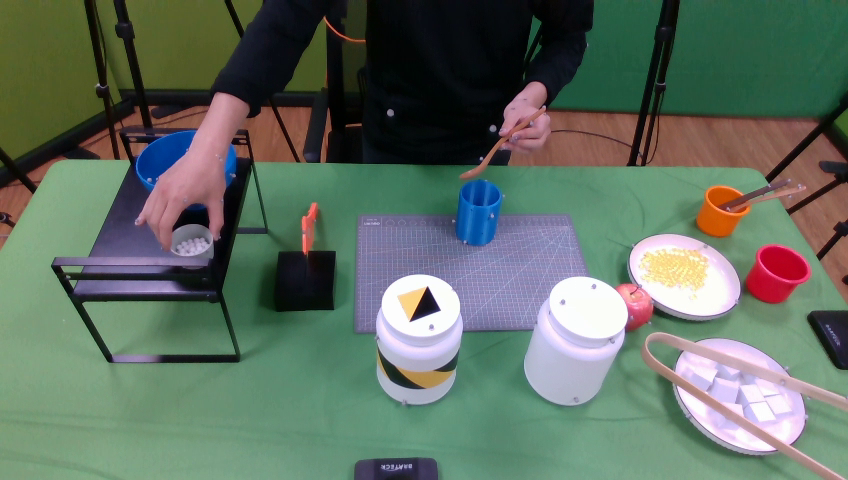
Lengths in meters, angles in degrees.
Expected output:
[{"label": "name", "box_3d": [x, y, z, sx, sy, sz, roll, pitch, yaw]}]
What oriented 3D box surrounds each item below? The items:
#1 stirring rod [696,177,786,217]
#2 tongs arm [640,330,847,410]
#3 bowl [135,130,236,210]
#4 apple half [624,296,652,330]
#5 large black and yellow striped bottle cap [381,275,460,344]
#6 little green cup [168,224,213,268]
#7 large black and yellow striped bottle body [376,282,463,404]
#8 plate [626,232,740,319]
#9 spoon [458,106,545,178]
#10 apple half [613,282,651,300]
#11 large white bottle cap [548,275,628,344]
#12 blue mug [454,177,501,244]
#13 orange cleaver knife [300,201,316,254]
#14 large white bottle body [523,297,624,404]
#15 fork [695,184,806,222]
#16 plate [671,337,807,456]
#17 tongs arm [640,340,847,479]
[{"label": "stirring rod", "box_3d": [0.648, -0.087, 1.244, 0.176, 0.006, 0.014, -25, 50, 29]}, {"label": "tongs arm", "box_3d": [0.543, 0.225, 0.969, 0.384, 0.026, 0.050, 22, 53, 13]}, {"label": "bowl", "box_3d": [-0.375, -0.102, 0.977, 0.151, 0.077, 0.150, 2, 47, -2]}, {"label": "apple half", "box_3d": [0.368, 0.135, 1.060, 0.081, 0.081, 0.032, -11, 43, -15]}, {"label": "large black and yellow striped bottle cap", "box_3d": [-0.005, 0.099, 0.875, 0.115, 0.019, 0.114, 2, 45, -2]}, {"label": "little green cup", "box_3d": [-0.341, 0.011, 0.894, 0.061, 0.039, 0.061, 5, 51, -6]}, {"label": "large black and yellow striped bottle body", "box_3d": [-0.010, 0.155, 0.937, 0.131, 0.185, 0.130, 2, 47, -2]}, {"label": "plate", "box_3d": [0.489, 0.070, 1.157, 0.209, 0.038, 0.208, 3, 46, -3]}, {"label": "spoon", "box_3d": [0.128, -0.162, 1.017, 0.021, 0.194, 0.041, 47, 34, 0]}, {"label": "apple half", "box_3d": [0.356, 0.109, 1.086, 0.081, 0.075, 0.053, -13, 44, -12]}, {"label": "large white bottle cap", "box_3d": [0.240, 0.100, 0.890, 0.115, 0.018, 0.114, 3, 47, -3]}, {"label": "blue mug", "box_3d": [0.106, -0.067, 1.208, 0.082, 0.106, 0.116, 6, 46, 1]}, {"label": "orange cleaver knife", "box_3d": [-0.221, -0.027, 1.160, 0.012, 0.077, 0.210, -1, 15, -4]}, {"label": "large white bottle body", "box_3d": [0.235, 0.159, 0.952, 0.131, 0.185, 0.130, 2, 47, -2]}, {"label": "fork", "box_3d": [0.658, -0.074, 1.230, 0.207, 0.019, 0.028, -24, 33, 36]}, {"label": "plate", "box_3d": [0.504, 0.254, 0.984, 0.208, 0.039, 0.206, 2, 46, -2]}, {"label": "tongs arm", "box_3d": [0.500, 0.277, 0.920, 0.386, 0.028, 0.028, 34, 59, 22]}]
